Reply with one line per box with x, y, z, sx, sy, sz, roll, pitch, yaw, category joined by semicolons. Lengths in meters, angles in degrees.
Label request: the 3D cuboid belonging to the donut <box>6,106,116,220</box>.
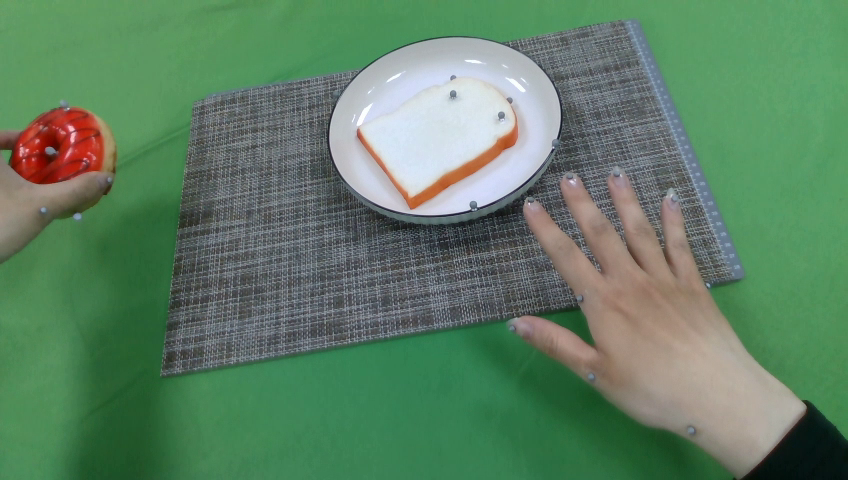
-0.301;-0.064;0.501;0.099;0.048;0.098;-4;75;16;donut

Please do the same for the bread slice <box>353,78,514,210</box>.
0.012;-0.097;0.548;0.131;0.019;0.104;-32;61;-10;bread slice

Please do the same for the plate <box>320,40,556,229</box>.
0.012;-0.094;0.545;0.207;0.039;0.205;-4;59;6;plate
